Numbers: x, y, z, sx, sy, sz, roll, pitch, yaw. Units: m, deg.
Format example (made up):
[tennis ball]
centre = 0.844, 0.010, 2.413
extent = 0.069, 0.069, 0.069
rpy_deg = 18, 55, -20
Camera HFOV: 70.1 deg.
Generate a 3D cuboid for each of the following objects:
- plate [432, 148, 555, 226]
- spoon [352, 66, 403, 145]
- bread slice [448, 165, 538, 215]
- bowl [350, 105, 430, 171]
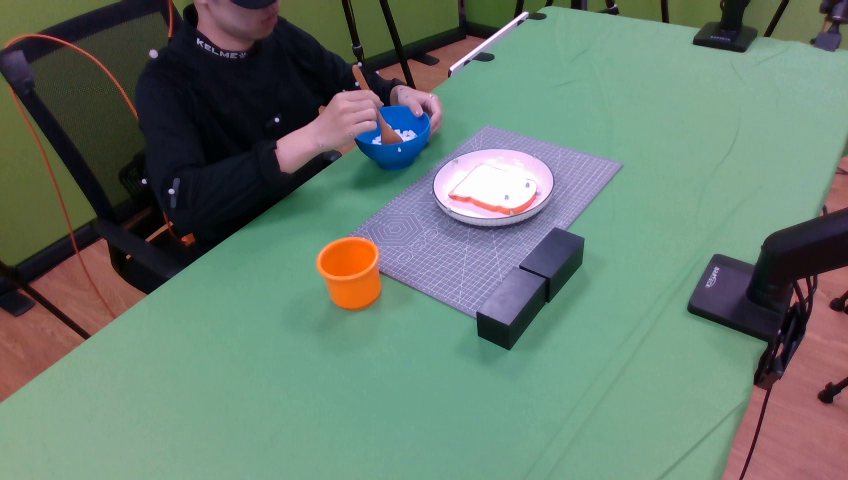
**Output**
[plate]
centre = 0.119, -0.087, 1.037
extent = 0.209, 0.038, 0.208
rpy_deg = -4, 40, 4
[spoon]
centre = -0.083, -0.222, 1.054
extent = 0.041, 0.195, 0.021
rpy_deg = -21, 42, 8
[bread slice]
centre = 0.126, -0.085, 1.038
extent = 0.133, 0.018, 0.107
rpy_deg = 16, 45, 27
[bowl]
centre = -0.059, -0.186, 1.151
extent = 0.151, 0.077, 0.150
rpy_deg = -4, 40, 4
